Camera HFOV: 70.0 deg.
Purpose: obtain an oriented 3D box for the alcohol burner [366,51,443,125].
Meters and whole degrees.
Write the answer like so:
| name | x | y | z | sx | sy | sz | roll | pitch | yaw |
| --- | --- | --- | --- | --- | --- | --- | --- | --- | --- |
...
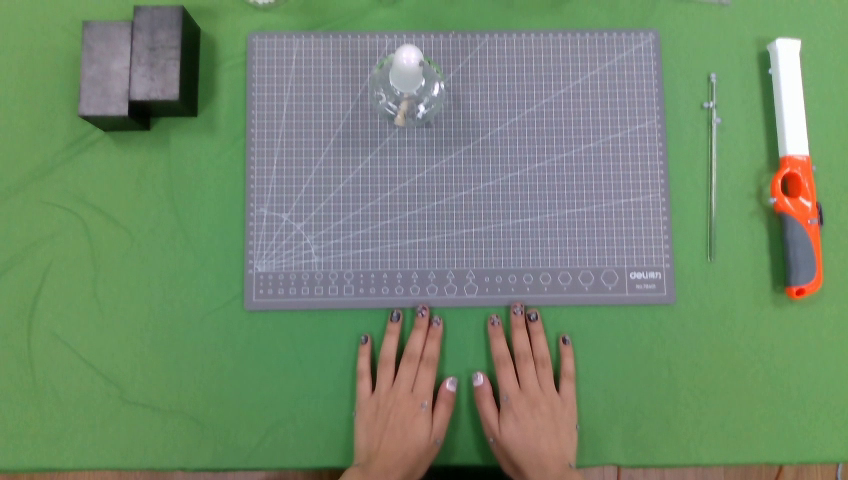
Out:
| name | x | y | z | sx | sy | sz | roll | pitch | yaw |
| --- | --- | --- | --- | --- | --- | --- | --- | --- | --- |
| alcohol burner | -0.019 | -0.158 | 0.600 | 0.078 | 0.119 | 0.077 | 0 | 82 | -2 |

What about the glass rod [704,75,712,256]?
| name | x | y | z | sx | sy | sz | roll | pitch | yaw |
| --- | --- | --- | --- | --- | --- | --- | --- | --- | --- |
| glass rod | 0.306 | -0.082 | 0.653 | 0.008 | 0.008 | 0.199 | 4 | 84 | -1 |

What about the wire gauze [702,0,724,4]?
| name | x | y | z | sx | sy | sz | roll | pitch | yaw |
| --- | --- | --- | --- | --- | --- | --- | --- | --- | --- |
| wire gauze | 0.281 | -0.331 | 0.680 | 0.125 | 0.011 | 0.121 | 6 | 84 | -2 |

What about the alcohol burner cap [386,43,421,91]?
| name | x | y | z | sx | sy | sz | roll | pitch | yaw |
| --- | --- | --- | --- | --- | --- | --- | --- | --- | --- |
| alcohol burner cap | -0.018 | -0.165 | 0.565 | 0.034 | 0.048 | 0.033 | 2 | 77 | -8 |

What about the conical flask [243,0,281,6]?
| name | x | y | z | sx | sy | sz | roll | pitch | yaw |
| --- | --- | --- | --- | --- | --- | --- | --- | --- | --- |
| conical flask | -0.176 | -0.298 | 0.611 | 0.075 | 0.122 | 0.075 | 0 | 83 | -1 |

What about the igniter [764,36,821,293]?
| name | x | y | z | sx | sy | sz | roll | pitch | yaw |
| --- | --- | --- | --- | --- | --- | --- | --- | --- | --- |
| igniter | 0.390 | -0.082 | 0.645 | 0.057 | 0.025 | 0.275 | 0 | 84 | -11 |
